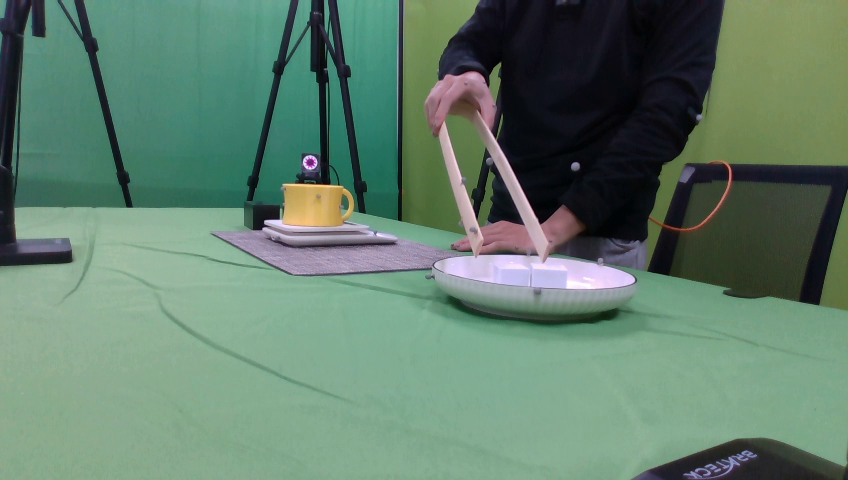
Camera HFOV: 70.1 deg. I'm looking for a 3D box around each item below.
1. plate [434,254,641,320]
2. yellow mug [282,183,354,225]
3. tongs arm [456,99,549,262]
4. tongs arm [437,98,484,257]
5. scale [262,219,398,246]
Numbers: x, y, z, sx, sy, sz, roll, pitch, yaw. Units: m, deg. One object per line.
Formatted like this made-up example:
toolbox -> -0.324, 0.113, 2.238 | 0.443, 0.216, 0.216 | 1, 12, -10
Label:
plate -> 0.114, 0.047, 0.625 | 0.208, 0.039, 0.207 | 2, 7, 0
yellow mug -> -0.172, -0.061, 1.009 | 0.131, 0.064, 0.099 | -2, 7, -42
tongs arm -> 0.095, -0.096, 0.788 | 0.028, 0.028, 0.386 | -1, 36, -10
tongs arm -> 0.053, -0.100, 0.780 | 0.051, 0.026, 0.383 | 3, 35, -11
scale -> -0.160, -0.016, 1.028 | 0.202, 0.031, 0.148 | -1, 9, -31
